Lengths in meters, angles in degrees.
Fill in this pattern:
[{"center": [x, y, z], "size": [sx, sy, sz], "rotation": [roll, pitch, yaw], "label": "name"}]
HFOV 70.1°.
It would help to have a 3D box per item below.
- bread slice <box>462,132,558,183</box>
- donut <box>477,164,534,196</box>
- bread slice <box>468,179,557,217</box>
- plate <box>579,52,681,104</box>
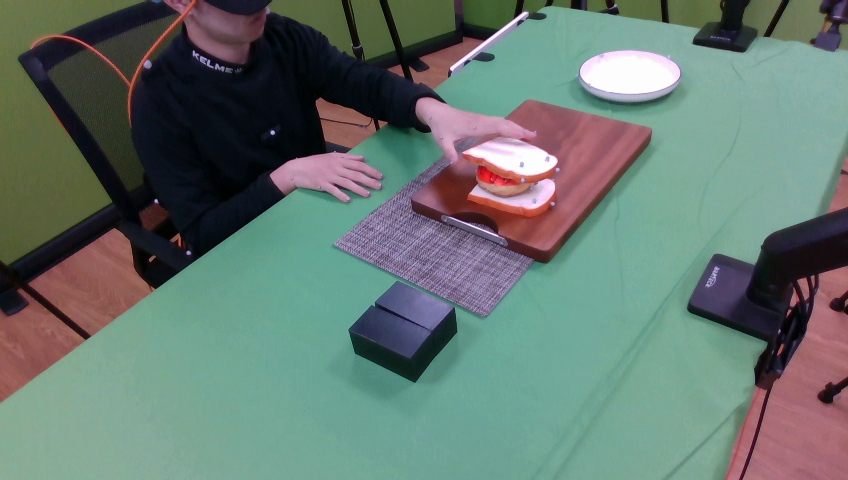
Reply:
[{"center": [0.146, -0.131, 0.971], "size": [0.133, 0.018, 0.107], "rotation": [29, 43, 31], "label": "bread slice"}, {"center": [0.136, -0.109, 0.991], "size": [0.099, 0.048, 0.098], "rotation": [-4, 40, 4], "label": "donut"}, {"center": [0.154, -0.083, 1.004], "size": [0.130, 0.019, 0.105], "rotation": [19, 48, 29], "label": "bread slice"}, {"center": [0.437, -0.343, 1.294], "size": [0.209, 0.038, 0.208], "rotation": [-4, 40, 4], "label": "plate"}]
